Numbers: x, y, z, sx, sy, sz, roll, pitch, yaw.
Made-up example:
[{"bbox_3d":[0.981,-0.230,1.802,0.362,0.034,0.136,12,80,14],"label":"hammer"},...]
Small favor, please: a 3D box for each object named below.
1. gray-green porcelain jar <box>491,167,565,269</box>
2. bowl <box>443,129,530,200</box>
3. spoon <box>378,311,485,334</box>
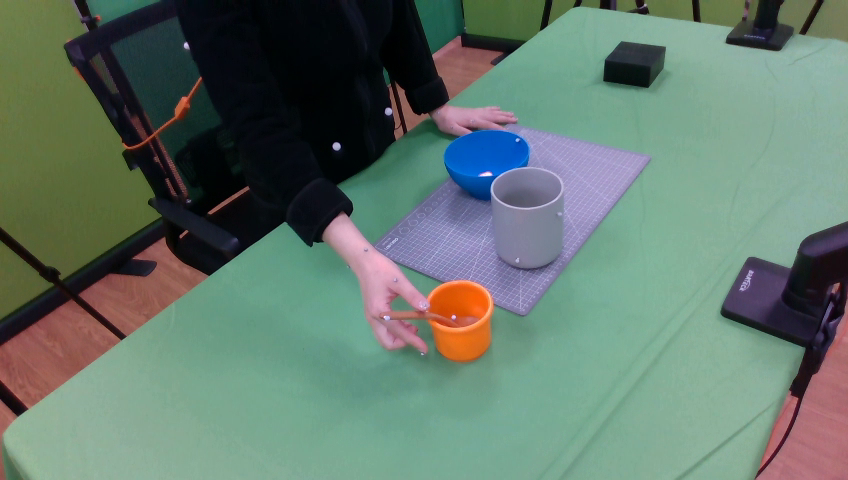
[{"bbox_3d":[0.157,-0.029,0.904,0.106,0.127,0.105,-6,40,5],"label":"gray-green porcelain jar"},{"bbox_3d":[0.113,-0.123,1.063,0.151,0.077,0.150,-6,40,5],"label":"bowl"},{"bbox_3d":[0.013,0.101,0.767,0.041,0.195,0.021,35,101,41],"label":"spoon"}]
